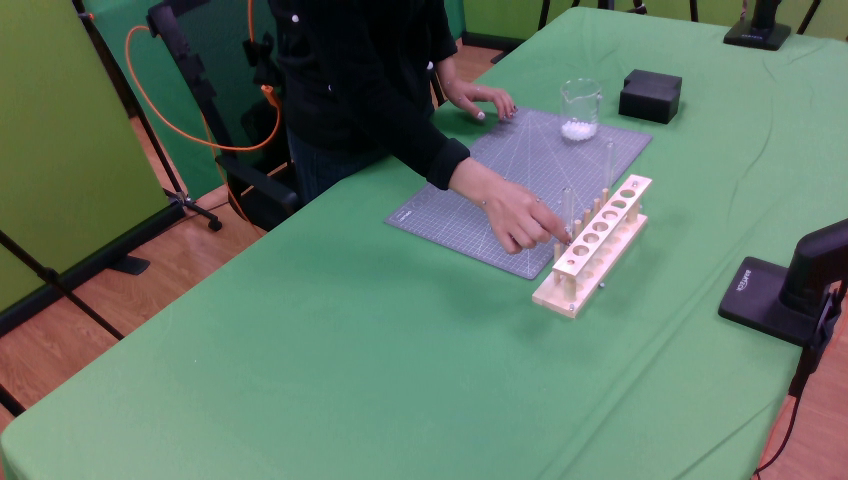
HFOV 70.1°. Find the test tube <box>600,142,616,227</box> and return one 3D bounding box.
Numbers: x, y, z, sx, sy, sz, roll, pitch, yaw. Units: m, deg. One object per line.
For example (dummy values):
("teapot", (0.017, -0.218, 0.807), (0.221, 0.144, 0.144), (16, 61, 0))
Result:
("test tube", (0.275, -0.081, 0.909), (0.017, 0.151, 0.017), (-5, 40, 5))

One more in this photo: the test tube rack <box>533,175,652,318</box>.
("test tube rack", (0.251, -0.001, 0.888), (0.066, 0.085, 0.243), (22, 49, 33))

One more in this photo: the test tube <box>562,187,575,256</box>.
("test tube", (0.201, -0.014, 0.843), (0.017, 0.151, 0.017), (-6, 43, 6))

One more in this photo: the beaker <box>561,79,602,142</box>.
("beaker", (0.295, -0.243, 1.150), (0.073, 0.101, 0.084), (22, 50, 32))
